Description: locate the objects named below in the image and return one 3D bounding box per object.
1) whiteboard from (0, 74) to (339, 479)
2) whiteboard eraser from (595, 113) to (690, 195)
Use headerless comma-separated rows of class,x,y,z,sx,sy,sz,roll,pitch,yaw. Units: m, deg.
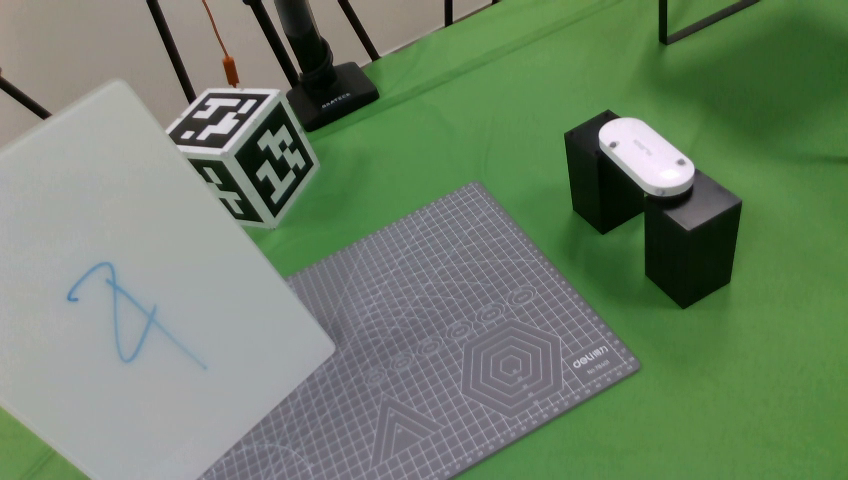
whiteboard,-0.264,0.049,0.534,0.217,0.308,0.142,-43,29,-19
whiteboard eraser,0.179,-0.074,0.504,0.041,0.019,0.100,-24,46,-4
